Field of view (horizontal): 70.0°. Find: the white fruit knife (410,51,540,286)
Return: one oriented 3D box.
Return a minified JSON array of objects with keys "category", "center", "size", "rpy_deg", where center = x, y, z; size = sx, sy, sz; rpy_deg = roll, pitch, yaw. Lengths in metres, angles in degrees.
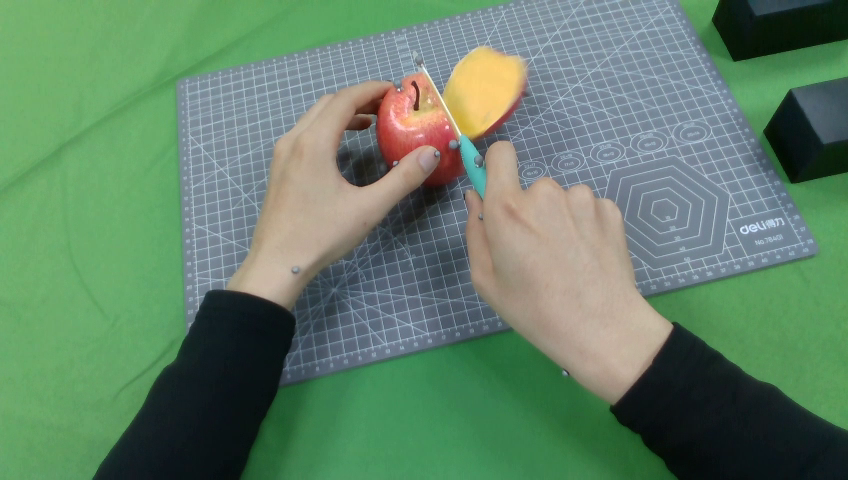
[{"category":"white fruit knife","center":[0.028,-0.060,0.419],"size":[0.016,0.027,0.205],"rpy_deg":[-22,63,-7]}]

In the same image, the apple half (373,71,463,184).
[{"category":"apple half","center":[-0.009,-0.077,0.453],"size":[0.053,0.075,0.080],"rpy_deg":[-25,69,-2]}]

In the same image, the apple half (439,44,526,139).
[{"category":"apple half","center":[0.048,-0.111,0.476],"size":[0.081,0.033,0.080],"rpy_deg":[-15,65,35]}]
